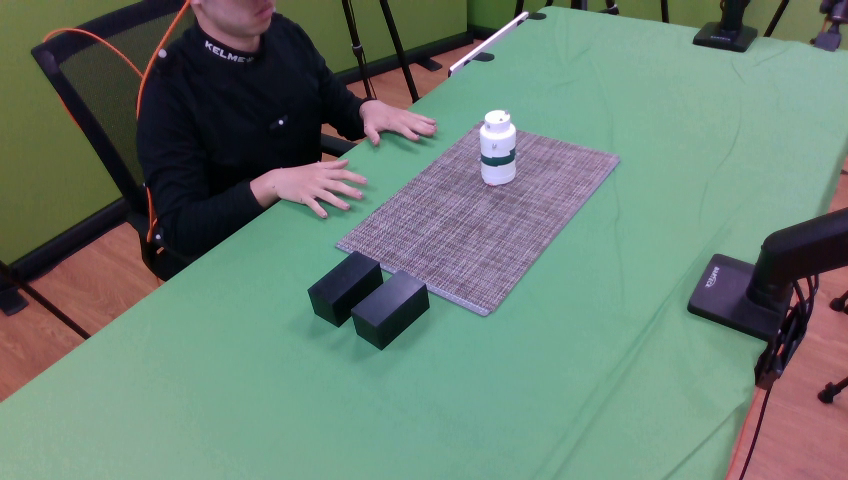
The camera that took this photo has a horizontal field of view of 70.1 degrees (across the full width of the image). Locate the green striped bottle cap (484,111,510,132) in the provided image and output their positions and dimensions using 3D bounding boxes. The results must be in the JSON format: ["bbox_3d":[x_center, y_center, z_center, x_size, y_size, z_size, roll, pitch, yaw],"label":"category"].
[{"bbox_3d":[0.123,-0.201,1.024,0.044,0.020,0.044,-3,39,3],"label":"green striped bottle cap"}]

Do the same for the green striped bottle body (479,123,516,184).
[{"bbox_3d":[0.129,-0.162,1.058,0.063,0.120,0.063,-4,41,4],"label":"green striped bottle body"}]
